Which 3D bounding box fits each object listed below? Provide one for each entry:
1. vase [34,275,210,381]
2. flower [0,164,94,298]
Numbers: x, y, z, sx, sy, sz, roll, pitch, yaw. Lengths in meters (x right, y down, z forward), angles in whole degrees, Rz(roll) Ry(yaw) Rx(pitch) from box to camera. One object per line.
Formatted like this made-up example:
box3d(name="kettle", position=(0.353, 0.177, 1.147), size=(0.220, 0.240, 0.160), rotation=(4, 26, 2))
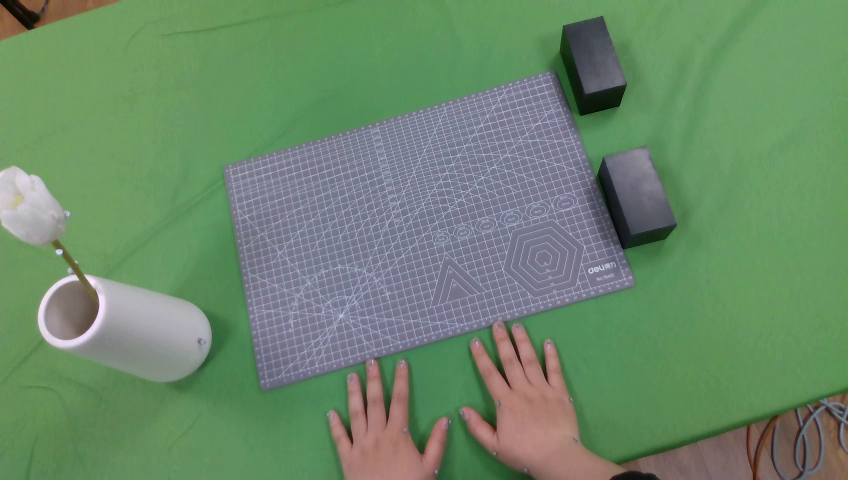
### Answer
box3d(name="vase", position=(-0.309, 0.094, 0.642), size=(0.098, 0.201, 0.097), rotation=(-2, 71, 5))
box3d(name="flower", position=(-0.305, 0.056, 0.567), size=(0.038, 0.364, 0.043), rotation=(-27, 65, -21))
